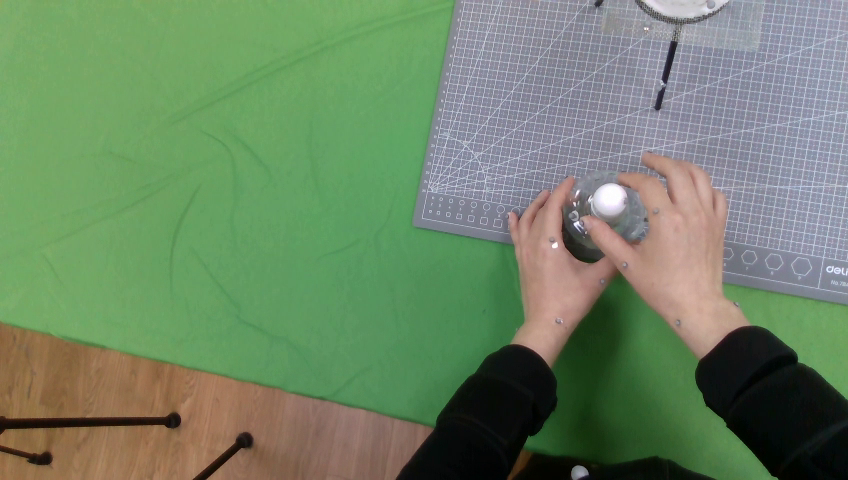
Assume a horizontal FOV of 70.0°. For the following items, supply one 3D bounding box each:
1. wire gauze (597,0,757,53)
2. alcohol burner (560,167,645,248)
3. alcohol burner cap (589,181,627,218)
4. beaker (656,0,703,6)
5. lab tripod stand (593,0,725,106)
[{"bbox_3d":[0.210,-0.220,0.490,0.125,0.011,0.121,10,91,9],"label":"wire gauze"},{"bbox_3d":[0.167,-0.032,0.561,0.078,0.119,0.077,-1,85,10],"label":"alcohol burner"},{"bbox_3d":[0.160,-0.037,0.526,0.034,0.048,0.034,-1,87,15],"label":"alcohol burner cap"},{"bbox_3d":[0.196,-0.225,0.444,0.083,0.100,0.074,24,91,13],"label":"beaker"},{"bbox_3d":[0.223,-0.213,0.554,0.148,0.132,0.148,-1,86,10],"label":"lab tripod stand"}]
